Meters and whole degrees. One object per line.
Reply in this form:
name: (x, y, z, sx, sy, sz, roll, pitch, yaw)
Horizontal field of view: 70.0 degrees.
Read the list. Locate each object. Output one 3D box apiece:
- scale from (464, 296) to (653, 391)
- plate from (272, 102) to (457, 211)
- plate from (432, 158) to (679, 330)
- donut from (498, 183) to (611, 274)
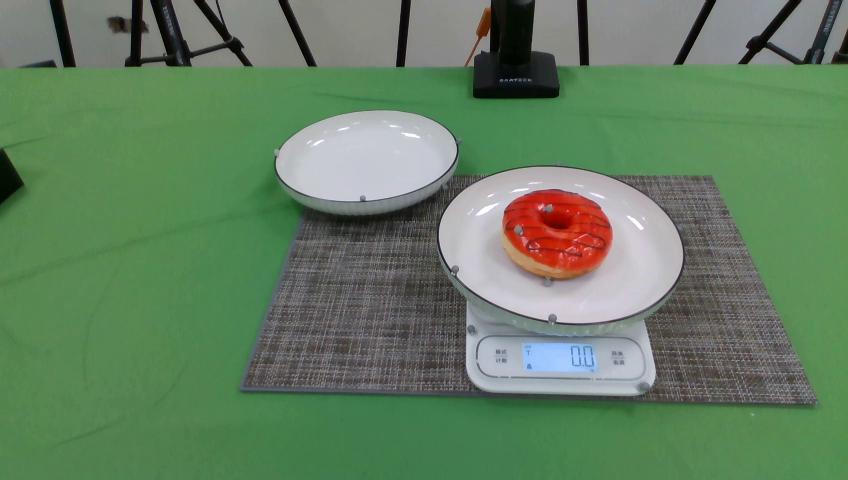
scale: (0.111, 0.041, 0.536, 0.148, 0.032, 0.199, 0, 42, 4)
plate: (-0.067, -0.094, 0.694, 0.209, 0.038, 0.207, -2, 40, 2)
plate: (0.111, 0.002, 0.531, 0.208, 0.039, 0.205, -1, 42, 1)
donut: (0.113, -0.010, 0.527, 0.099, 0.048, 0.098, 1, 43, 0)
